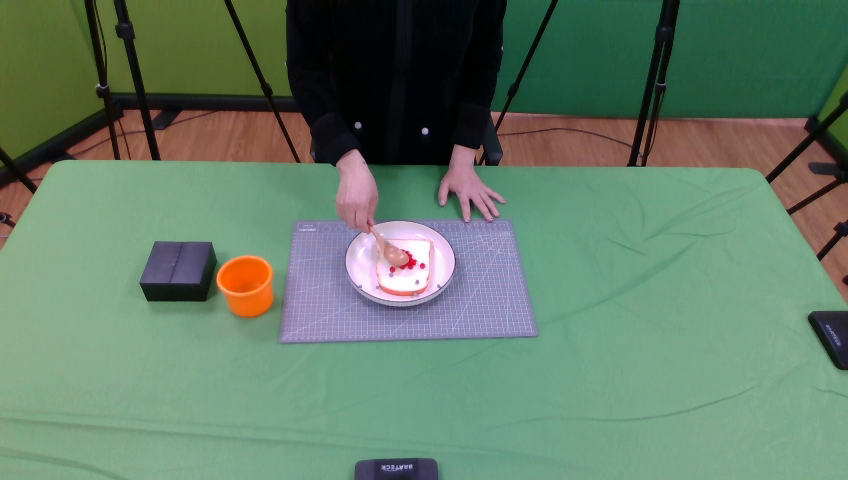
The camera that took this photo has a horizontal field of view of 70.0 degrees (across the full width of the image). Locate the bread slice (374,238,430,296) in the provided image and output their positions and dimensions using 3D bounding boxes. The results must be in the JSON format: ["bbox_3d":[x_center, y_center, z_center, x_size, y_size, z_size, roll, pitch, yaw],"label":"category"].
[{"bbox_3d":[-0.039,0.048,1.135,0.107,0.018,0.133,-1,47,-4],"label":"bread slice"}]

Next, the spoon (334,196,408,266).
[{"bbox_3d":[-0.101,-0.019,1.133,0.193,0.022,0.041,47,51,13],"label":"spoon"}]

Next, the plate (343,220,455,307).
[{"bbox_3d":[-0.047,0.046,1.135,0.209,0.038,0.208,2,46,-2],"label":"plate"}]
